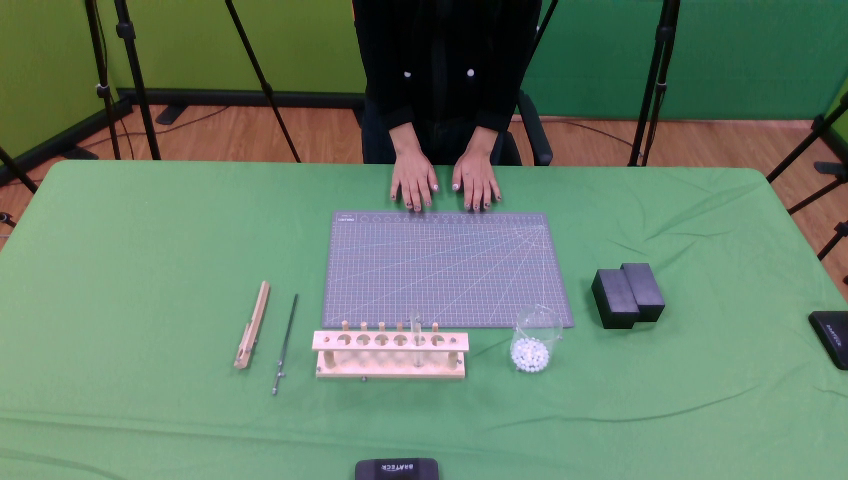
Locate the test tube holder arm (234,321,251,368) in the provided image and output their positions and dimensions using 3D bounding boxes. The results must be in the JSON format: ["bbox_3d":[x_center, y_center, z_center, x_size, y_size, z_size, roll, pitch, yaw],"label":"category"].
[{"bbox_3d":[-0.299,0.173,1.013,0.010,0.015,0.087,-16,42,22],"label":"test tube holder arm"}]

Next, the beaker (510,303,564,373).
[{"bbox_3d":[0.182,0.164,1.000,0.074,0.101,0.083,2,45,-1],"label":"beaker"}]

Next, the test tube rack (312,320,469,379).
[{"bbox_3d":[-0.054,0.173,0.984,0.242,0.085,0.066,1,46,-3],"label":"test tube rack"}]

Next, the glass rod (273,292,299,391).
[{"bbox_3d":[-0.233,0.167,1.030,0.008,0.008,0.198,3,46,0],"label":"glass rod"}]

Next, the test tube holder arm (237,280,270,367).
[{"bbox_3d":[-0.290,0.139,1.042,0.013,0.015,0.177,-17,42,22],"label":"test tube holder arm"}]

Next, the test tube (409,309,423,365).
[{"bbox_3d":[-0.012,0.153,0.937,0.017,0.151,0.017,-1,50,2],"label":"test tube"}]
